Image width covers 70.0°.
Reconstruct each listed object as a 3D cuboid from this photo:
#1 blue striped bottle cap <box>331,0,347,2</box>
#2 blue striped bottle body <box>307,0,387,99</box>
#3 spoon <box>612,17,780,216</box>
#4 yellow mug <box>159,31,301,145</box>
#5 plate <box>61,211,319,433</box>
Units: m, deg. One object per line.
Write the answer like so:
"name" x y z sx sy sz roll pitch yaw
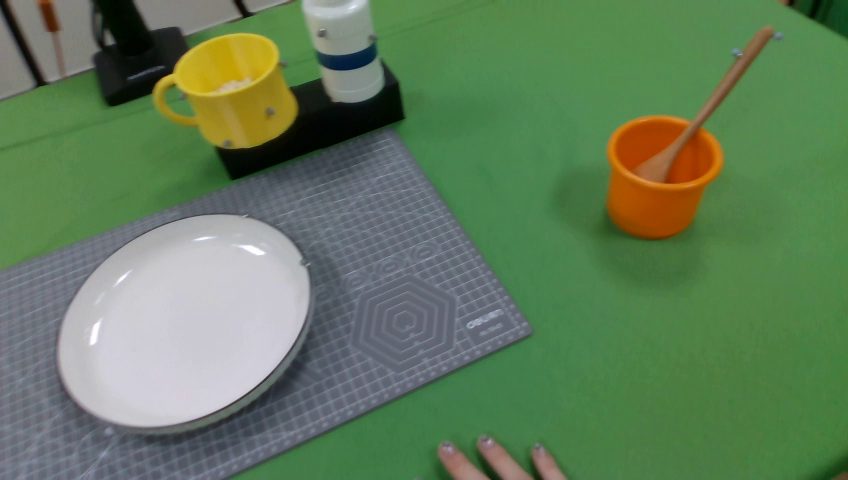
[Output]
"blue striped bottle cap" -0.080 -0.237 0.553 0.044 0.021 0.044 -5 52 7
"blue striped bottle body" -0.075 -0.205 0.593 0.063 0.122 0.062 -4 51 5
"spoon" 0.227 -0.101 0.513 0.194 0.022 0.041 -54 52 17
"yellow mug" -0.195 -0.148 0.598 0.131 0.064 0.099 -12 50 -2
"plate" -0.188 0.064 0.507 0.207 0.039 0.205 -3 51 4
